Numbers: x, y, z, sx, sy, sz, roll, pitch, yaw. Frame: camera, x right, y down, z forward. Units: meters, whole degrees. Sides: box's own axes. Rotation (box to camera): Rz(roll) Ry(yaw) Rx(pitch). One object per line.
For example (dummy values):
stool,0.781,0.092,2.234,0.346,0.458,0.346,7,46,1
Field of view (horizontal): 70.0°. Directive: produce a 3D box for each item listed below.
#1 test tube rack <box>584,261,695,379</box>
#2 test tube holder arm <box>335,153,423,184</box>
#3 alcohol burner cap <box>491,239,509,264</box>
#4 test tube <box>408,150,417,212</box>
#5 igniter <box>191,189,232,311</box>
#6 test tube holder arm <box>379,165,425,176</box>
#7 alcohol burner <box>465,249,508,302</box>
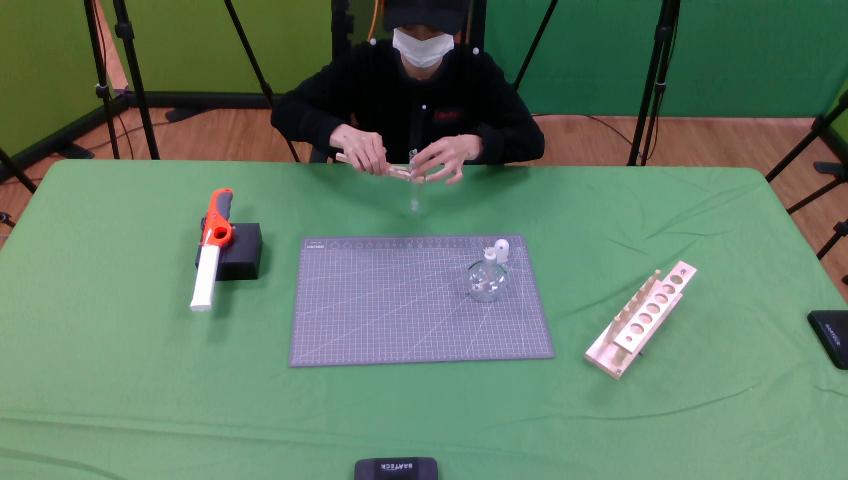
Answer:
test tube rack,0.380,0.127,1.062,0.066,0.085,0.242,34,53,26
test tube holder arm,-0.087,-0.138,1.164,0.178,0.015,0.013,15,48,8
alcohol burner cap,0.150,0.020,1.174,0.034,0.048,0.033,2,46,-2
test tube,-0.021,-0.110,1.174,0.017,0.151,0.017,0,46,0
igniter,-0.381,0.008,1.092,0.057,0.025,0.274,-1,50,-7
test tube holder arm,-0.043,-0.133,1.164,0.088,0.015,0.010,3,49,-3
alcohol burner,0.114,0.057,1.085,0.078,0.120,0.077,2,48,-2
